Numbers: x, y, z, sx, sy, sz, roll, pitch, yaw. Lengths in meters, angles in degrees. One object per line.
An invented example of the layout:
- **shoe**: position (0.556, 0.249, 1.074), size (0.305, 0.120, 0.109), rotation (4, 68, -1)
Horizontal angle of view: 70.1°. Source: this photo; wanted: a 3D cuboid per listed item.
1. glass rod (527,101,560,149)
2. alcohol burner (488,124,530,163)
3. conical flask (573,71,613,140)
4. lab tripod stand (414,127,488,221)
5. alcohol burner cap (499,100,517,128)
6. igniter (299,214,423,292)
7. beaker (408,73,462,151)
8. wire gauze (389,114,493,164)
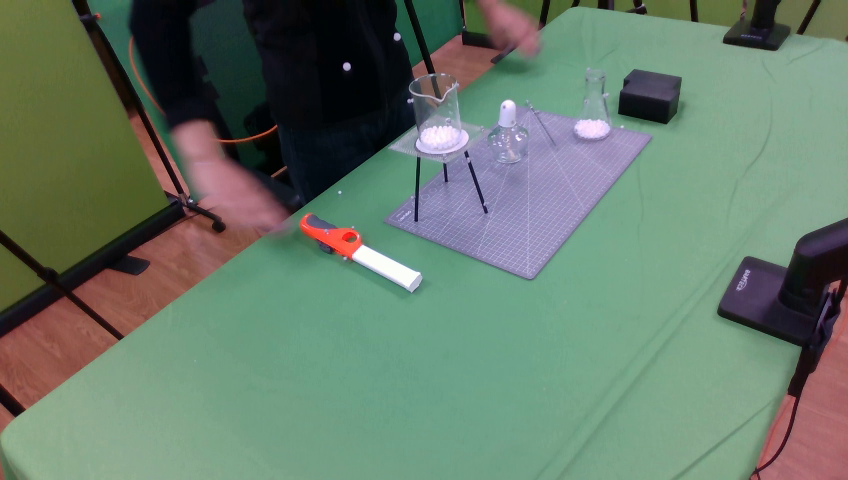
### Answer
- **glass rod**: position (0.240, -0.237, 1.223), size (0.008, 0.008, 0.198), rotation (-12, 40, -2)
- **alcohol burner**: position (0.157, -0.204, 1.119), size (0.078, 0.119, 0.077), rotation (-5, 38, 5)
- **conical flask**: position (0.321, -0.256, 1.142), size (0.075, 0.122, 0.075), rotation (-5, 40, 5)
- **lab tripod stand**: position (0.035, -0.114, 1.021), size (0.148, 0.132, 0.147), rotation (-7, 39, 6)
- **alcohol burner cap**: position (0.154, -0.230, 1.096), size (0.034, 0.048, 0.033), rotation (-2, 45, 2)
- **igniter**: position (-0.113, 0.016, 0.983), size (0.274, 0.025, 0.057), rotation (26, 62, 35)
- **beaker**: position (0.021, -0.196, 0.943), size (0.074, 0.101, 0.083), rotation (-17, 40, -7)
- **wire gauze**: position (0.027, -0.163, 0.978), size (0.120, 0.011, 0.125), rotation (22, 50, 36)
